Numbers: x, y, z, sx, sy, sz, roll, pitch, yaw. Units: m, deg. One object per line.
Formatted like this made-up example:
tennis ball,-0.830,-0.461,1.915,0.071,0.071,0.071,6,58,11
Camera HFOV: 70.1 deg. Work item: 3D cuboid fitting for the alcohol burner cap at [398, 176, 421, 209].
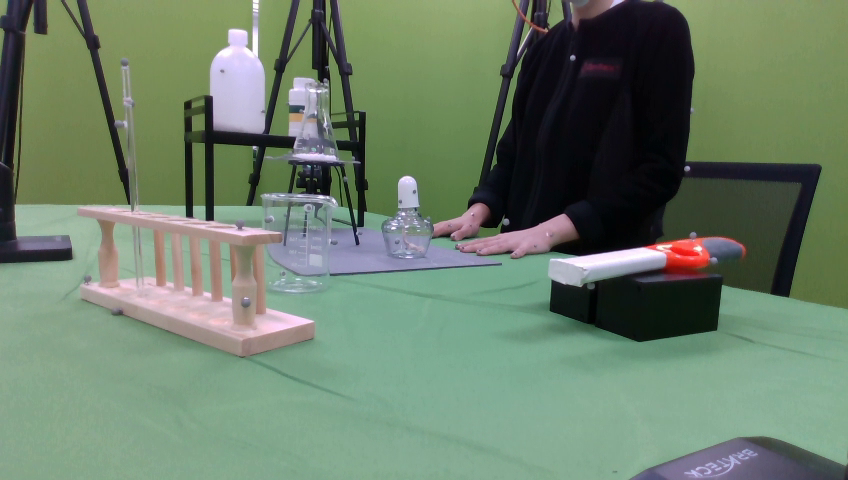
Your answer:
alcohol burner cap,-0.023,-0.068,0.866,0.034,0.048,0.034,-4,8,1

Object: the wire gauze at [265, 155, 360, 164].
wire gauze,-0.181,-0.128,0.969,0.126,0.011,0.121,-3,7,-26

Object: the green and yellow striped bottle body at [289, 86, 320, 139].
green and yellow striped bottle body,-0.250,-0.272,1.261,0.063,0.119,0.063,3,7,0

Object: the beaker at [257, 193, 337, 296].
beaker,-0.130,0.004,0.628,0.084,0.100,0.074,5,8,15

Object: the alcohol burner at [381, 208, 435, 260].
alcohol burner,-0.023,-0.032,0.872,0.078,0.119,0.078,0,6,0

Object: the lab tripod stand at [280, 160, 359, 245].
lab tripod stand,-0.176,-0.062,0.973,0.148,0.131,0.148,1,7,0

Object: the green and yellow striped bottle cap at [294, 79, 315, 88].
green and yellow striped bottle cap,-0.248,-0.323,1.256,0.045,0.020,0.045,3,9,0

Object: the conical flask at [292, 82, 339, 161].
conical flask,-0.171,-0.185,0.957,0.075,0.122,0.075,2,7,0

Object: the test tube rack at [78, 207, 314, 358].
test tube rack,-0.196,0.023,0.500,0.241,0.085,0.067,8,9,37

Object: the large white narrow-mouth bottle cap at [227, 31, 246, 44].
large white narrow-mouth bottle cap,-0.361,-0.388,1.165,0.038,0.024,0.037,1,7,0

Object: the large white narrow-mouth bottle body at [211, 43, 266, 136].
large white narrow-mouth bottle body,-0.361,-0.302,1.176,0.102,0.194,0.102,1,7,0

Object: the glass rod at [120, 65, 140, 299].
glass rod,-0.249,-0.047,0.513,0.008,0.199,0.008,-1,4,0

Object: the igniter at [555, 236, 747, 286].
igniter,0.221,0.017,0.558,0.278,0.025,0.057,-5,15,-39
